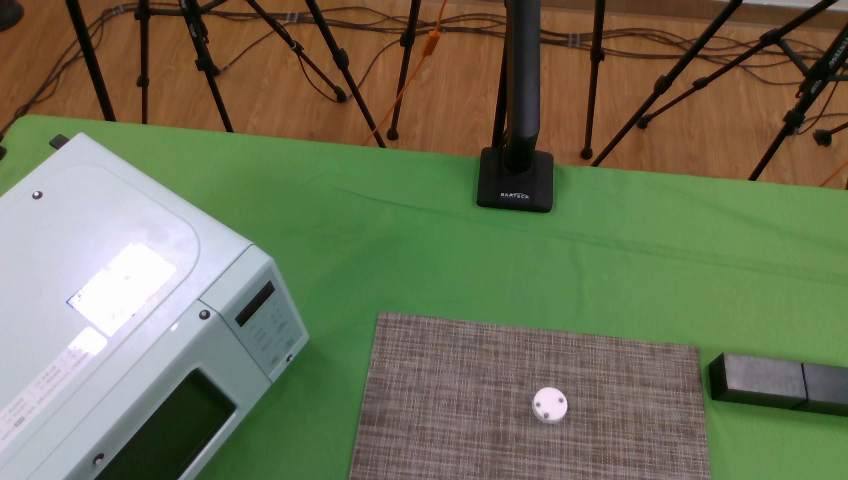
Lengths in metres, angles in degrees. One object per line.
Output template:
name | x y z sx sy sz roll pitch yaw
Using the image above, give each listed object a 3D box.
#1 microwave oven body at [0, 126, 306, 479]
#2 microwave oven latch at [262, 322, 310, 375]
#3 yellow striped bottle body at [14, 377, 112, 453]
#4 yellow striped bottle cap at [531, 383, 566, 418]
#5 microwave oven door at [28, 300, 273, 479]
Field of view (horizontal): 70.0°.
microwave oven body | -0.410 0.147 0.695 0.324 0.262 0.440 31 66 16
microwave oven latch | -0.187 0.139 0.810 0.030 0.030 0.079 33 66 16
yellow striped bottle body | -0.405 0.194 0.677 0.063 0.121 0.062 1 59 -2
yellow striped bottle cap | 0.164 0.212 0.799 0.044 0.019 0.044 -1 60 2
microwave oven door | -0.314 0.246 0.634 0.039 0.246 0.355 30 65 17
